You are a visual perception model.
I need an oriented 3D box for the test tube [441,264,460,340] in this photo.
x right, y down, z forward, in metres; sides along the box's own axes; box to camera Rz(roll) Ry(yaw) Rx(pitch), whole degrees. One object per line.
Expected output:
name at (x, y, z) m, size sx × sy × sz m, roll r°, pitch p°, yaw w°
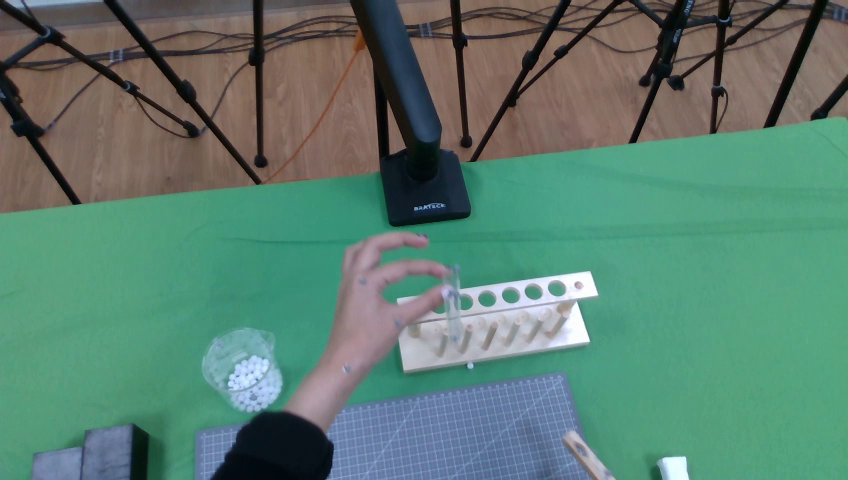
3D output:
test tube at (0.028, 0.067, 0.614) m, size 0.017 × 0.151 × 0.017 m, roll -2°, pitch 59°, yaw 3°

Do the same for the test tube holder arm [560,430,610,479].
test tube holder arm at (0.180, 0.244, 0.652) m, size 0.010 × 0.015 × 0.087 m, roll -35°, pitch 58°, yaw -13°

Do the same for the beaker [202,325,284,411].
beaker at (-0.202, 0.150, 0.699) m, size 0.084 × 0.101 × 0.073 m, roll -40°, pitch 69°, yaw -23°

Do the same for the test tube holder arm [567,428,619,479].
test tube holder arm at (0.211, 0.268, 0.630) m, size 0.013 × 0.015 × 0.176 m, roll -37°, pitch 58°, yaw -14°

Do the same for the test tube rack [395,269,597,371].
test tube rack at (0.089, 0.100, 0.753) m, size 0.243 × 0.086 × 0.066 m, roll -7°, pitch 61°, yaw -8°

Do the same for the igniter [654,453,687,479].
igniter at (0.295, 0.371, 0.644) m, size 0.057 × 0.025 × 0.274 m, roll 3°, pitch 60°, yaw -13°
